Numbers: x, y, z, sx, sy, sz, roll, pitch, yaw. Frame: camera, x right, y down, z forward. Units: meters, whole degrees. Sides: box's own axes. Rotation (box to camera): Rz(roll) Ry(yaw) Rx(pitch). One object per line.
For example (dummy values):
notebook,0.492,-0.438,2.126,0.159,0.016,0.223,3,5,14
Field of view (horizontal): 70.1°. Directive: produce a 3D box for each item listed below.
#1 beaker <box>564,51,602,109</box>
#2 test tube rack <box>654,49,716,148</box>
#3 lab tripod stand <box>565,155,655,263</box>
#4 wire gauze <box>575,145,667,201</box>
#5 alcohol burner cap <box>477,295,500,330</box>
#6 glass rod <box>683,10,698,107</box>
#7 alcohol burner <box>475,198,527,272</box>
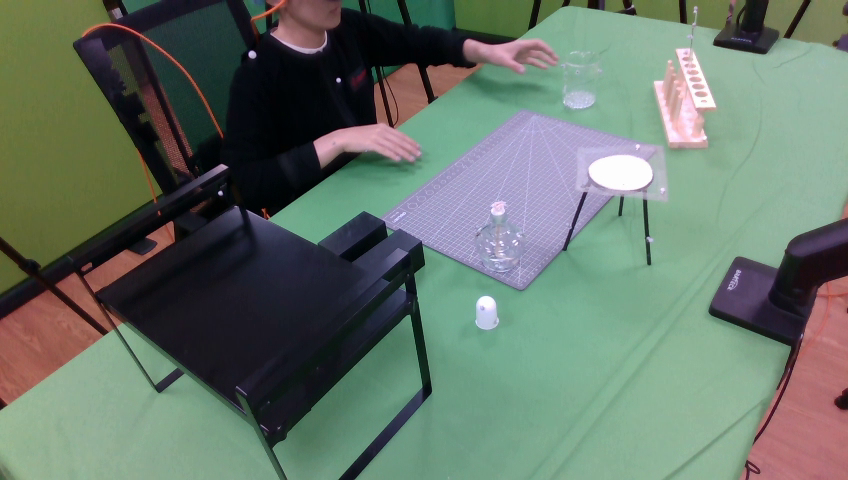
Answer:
beaker,0.326,-0.330,1.250,0.074,0.101,0.084,4,41,13
test tube rack,0.502,-0.281,1.176,0.066,0.085,0.241,2,42,11
lab tripod stand,0.285,-0.046,0.901,0.148,0.132,0.147,-5,42,5
wire gauze,0.279,-0.100,0.861,0.124,0.011,0.121,5,43,14
alcohol burner cap,0.089,0.097,0.833,0.034,0.048,0.033,-4,42,4
glass rod,0.501,-0.336,1.139,0.008,0.201,0.008,-8,43,8
alcohol burner,0.113,-0.012,0.897,0.078,0.119,0.077,-6,40,6
